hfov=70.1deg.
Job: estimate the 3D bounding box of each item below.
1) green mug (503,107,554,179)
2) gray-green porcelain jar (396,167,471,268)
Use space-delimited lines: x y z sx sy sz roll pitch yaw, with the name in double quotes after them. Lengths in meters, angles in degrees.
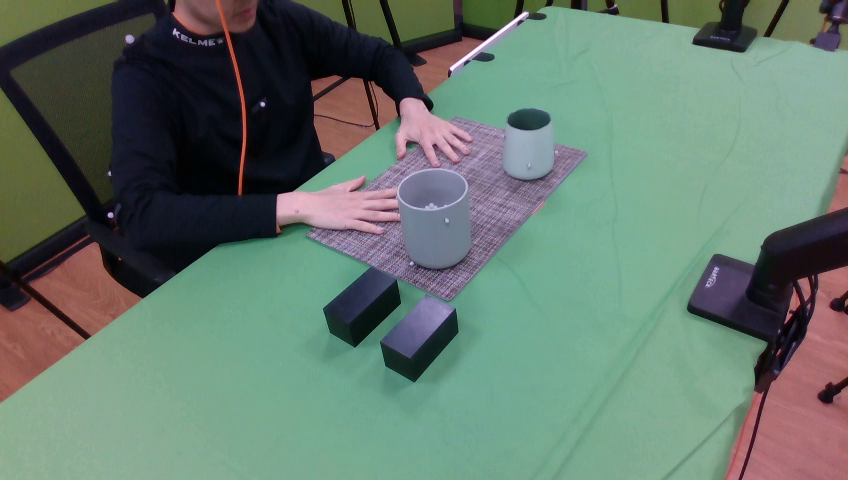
0.181 -0.180 1.083 0.093 0.105 0.124 -13 41 -6 "green mug"
0.017 -0.029 0.913 0.106 0.127 0.105 -4 41 4 "gray-green porcelain jar"
